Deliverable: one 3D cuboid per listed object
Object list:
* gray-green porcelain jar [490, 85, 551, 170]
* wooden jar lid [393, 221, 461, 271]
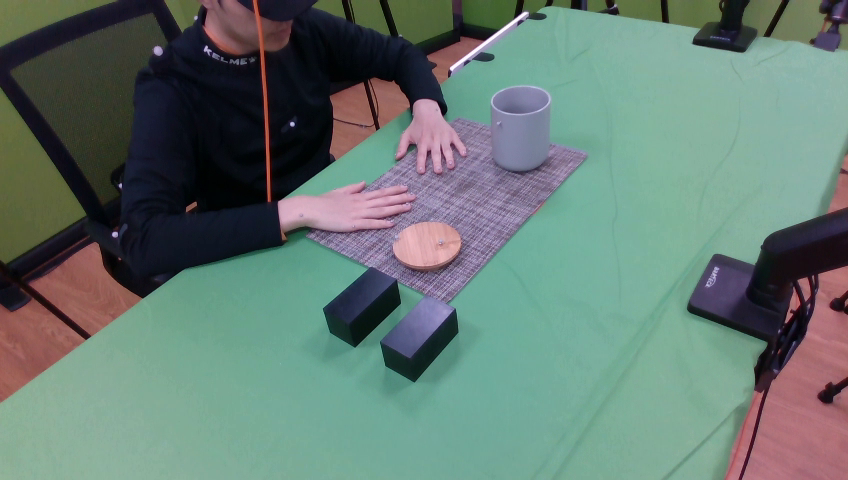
[{"bbox_3d":[0.173,-0.198,1.087,0.106,0.127,0.105,-4,41,4],"label":"gray-green porcelain jar"},{"bbox_3d":[0.005,0.010,0.952,0.108,0.021,0.108,-4,40,4],"label":"wooden jar lid"}]
